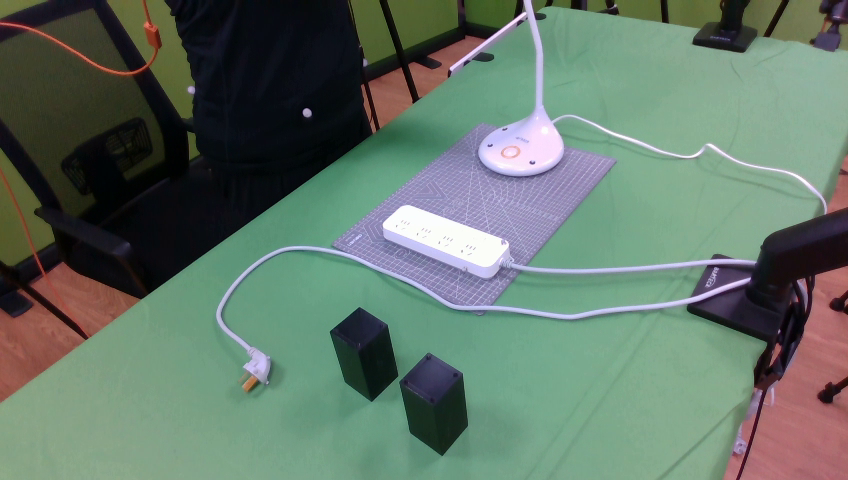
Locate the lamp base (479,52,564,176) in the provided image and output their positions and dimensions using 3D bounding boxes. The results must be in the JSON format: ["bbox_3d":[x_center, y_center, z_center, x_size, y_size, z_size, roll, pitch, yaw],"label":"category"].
[{"bbox_3d":[0.181,-0.235,1.094,0.159,0.181,0.179,18,44,27],"label":"lamp base"}]

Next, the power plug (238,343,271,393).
[{"bbox_3d":[-0.230,0.172,0.801,0.072,0.035,0.053,9,51,50],"label":"power plug"}]

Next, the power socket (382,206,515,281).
[{"bbox_3d":[0.032,0.002,0.950,0.225,0.033,0.072,21,49,29],"label":"power socket"}]
